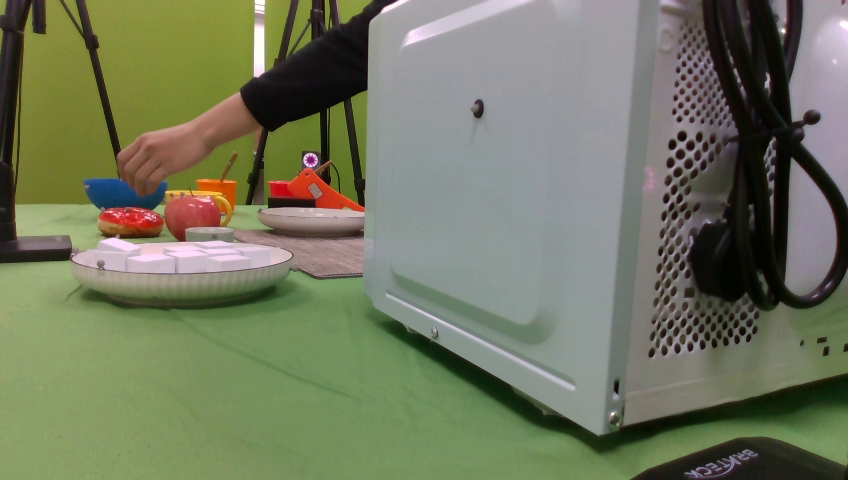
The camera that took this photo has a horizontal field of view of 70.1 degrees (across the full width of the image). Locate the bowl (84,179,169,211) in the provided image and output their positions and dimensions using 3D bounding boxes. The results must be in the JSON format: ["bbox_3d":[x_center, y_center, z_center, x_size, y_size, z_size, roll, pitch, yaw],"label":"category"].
[{"bbox_3d":[-0.584,-0.078,1.194,0.151,0.077,0.151,3,8,0],"label":"bowl"}]

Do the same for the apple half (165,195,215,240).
[{"bbox_3d":[-0.377,-0.038,0.964,0.082,0.081,0.032,-4,15,-40],"label":"apple half"}]

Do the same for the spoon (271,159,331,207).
[{"bbox_3d":[-0.307,-0.141,1.513,0.193,0.021,0.041,-41,3,8],"label":"spoon"}]

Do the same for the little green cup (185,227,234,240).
[{"bbox_3d":[-0.285,0.005,0.805,0.061,0.038,0.061,2,8,0],"label":"little green cup"}]

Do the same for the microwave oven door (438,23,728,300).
[{"bbox_3d":[0.181,-0.072,0.621,0.358,0.243,0.039,-2,8,-29],"label":"microwave oven door"}]

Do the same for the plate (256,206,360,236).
[{"bbox_3d":[-0.202,-0.036,1.120,0.209,0.038,0.209,2,8,0],"label":"plate"}]

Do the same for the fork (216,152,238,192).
[{"bbox_3d":[-0.455,-0.132,1.366,0.028,0.018,0.207,-2,-35,-37],"label":"fork"}]

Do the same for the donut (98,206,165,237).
[{"bbox_3d":[-0.472,-0.028,0.979,0.099,0.048,0.099,5,8,0],"label":"donut"}]

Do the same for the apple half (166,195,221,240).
[{"bbox_3d":[-0.352,-0.031,0.935,0.081,0.074,0.053,1,11,-40],"label":"apple half"}]

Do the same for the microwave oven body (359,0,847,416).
[{"bbox_3d":[0.211,-0.047,0.474,0.444,0.260,0.324,-1,7,-28],"label":"microwave oven body"}]

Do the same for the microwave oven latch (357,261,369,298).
[{"bbox_3d":[-0.019,0.033,0.529,0.079,0.029,0.030,0,7,-24],"label":"microwave oven latch"}]

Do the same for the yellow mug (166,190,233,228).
[{"bbox_3d":[-0.415,-0.057,1.131,0.130,0.064,0.100,6,8,16],"label":"yellow mug"}]

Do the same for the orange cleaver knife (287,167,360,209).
[{"bbox_3d":[-0.209,-0.089,1.383,0.212,0.077,0.012,31,4,-15],"label":"orange cleaver knife"}]

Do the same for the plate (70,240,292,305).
[{"bbox_3d":[-0.242,0.031,0.618,0.208,0.039,0.207,2,8,0],"label":"plate"}]
